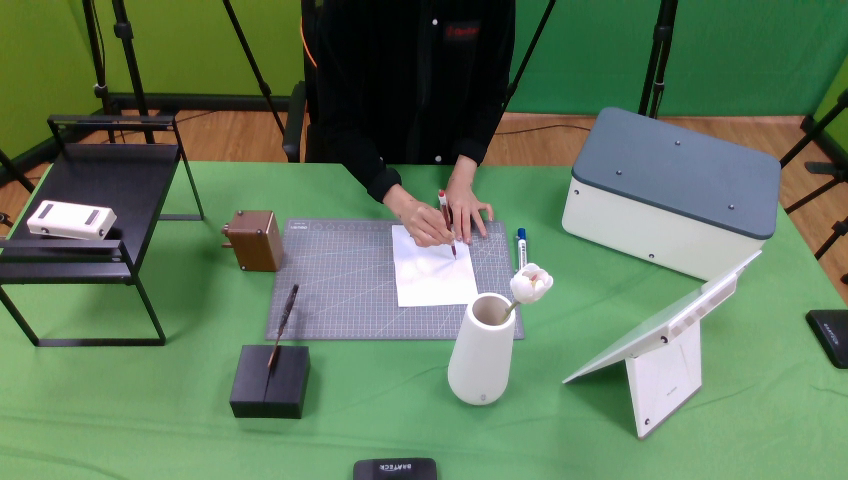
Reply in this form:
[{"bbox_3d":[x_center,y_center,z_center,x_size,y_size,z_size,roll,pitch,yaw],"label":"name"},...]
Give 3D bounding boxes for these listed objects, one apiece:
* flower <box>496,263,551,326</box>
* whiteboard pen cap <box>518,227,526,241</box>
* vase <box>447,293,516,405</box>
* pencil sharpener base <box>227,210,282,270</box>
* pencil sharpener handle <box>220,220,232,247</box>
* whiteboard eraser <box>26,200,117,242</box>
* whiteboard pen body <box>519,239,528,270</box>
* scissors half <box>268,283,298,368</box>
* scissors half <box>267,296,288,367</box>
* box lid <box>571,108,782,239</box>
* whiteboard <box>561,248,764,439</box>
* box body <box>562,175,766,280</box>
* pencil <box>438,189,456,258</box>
[{"bbox_3d":[0.102,0.121,0.853,0.044,0.363,0.038,-2,64,-10],"label":"flower"},{"bbox_3d":[0.197,-0.009,1.220,0.018,0.018,0.033,5,50,1],"label":"whiteboard pen cap"},{"bbox_3d":[0.091,0.169,0.921,0.098,0.201,0.097,3,47,-3],"label":"vase"},{"bbox_3d":[-0.311,0.001,1.112,0.077,0.107,0.061,1,47,1],"label":"pencil sharpener base"},{"bbox_3d":[-0.362,-0.009,1.105,0.030,0.068,0.036,1,53,1],"label":"pencil sharpener handle"},{"bbox_3d":[-0.532,-0.026,0.919,0.113,0.042,0.055,7,45,3],"label":"whiteboard eraser"},{"bbox_3d":[0.193,0.035,1.181,0.017,0.017,0.140,6,48,1],"label":"whiteboard pen body"},{"bbox_3d":[-0.230,0.135,0.986,0.013,0.040,0.174,19,43,-11],"label":"scissors half"},{"bbox_3d":[-0.239,0.150,0.997,0.013,0.040,0.174,24,24,-13],"label":"scissors half"},{"bbox_3d":[0.491,-0.139,1.168,0.370,0.015,0.262,21,49,15],"label":"box lid"},{"bbox_3d":[0.386,0.176,0.905,0.217,0.306,0.143,-26,72,-27],"label":"whiteboard"},{"bbox_3d":[0.486,-0.088,1.222,0.363,0.161,0.253,20,48,15],"label":"box body"},{"bbox_3d":[0.045,-0.024,1.102,0.012,0.195,0.012,-6,51,8],"label":"pencil"}]
